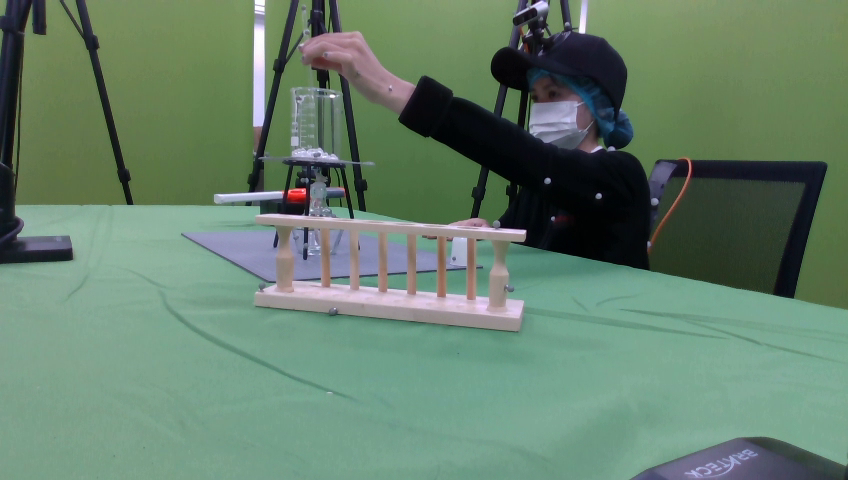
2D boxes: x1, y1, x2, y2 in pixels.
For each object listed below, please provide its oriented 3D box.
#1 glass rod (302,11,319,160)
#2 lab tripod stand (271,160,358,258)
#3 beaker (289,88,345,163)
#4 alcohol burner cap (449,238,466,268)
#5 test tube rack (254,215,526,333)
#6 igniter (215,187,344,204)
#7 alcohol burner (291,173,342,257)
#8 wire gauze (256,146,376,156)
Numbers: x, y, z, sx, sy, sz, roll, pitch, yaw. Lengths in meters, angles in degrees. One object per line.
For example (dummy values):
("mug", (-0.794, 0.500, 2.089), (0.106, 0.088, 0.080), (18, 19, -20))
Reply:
("glass rod", (-0.156, -0.211, 0.833), (0.008, 0.199, 0.008), (-3, 10, 1))
("lab tripod stand", (-0.159, -0.048, 0.876), (0.148, 0.131, 0.148), (3, 5, 0))
("beaker", (-0.157, -0.160, 0.862), (0.083, 0.100, 0.074), (7, 7, 34))
("alcohol burner cap", (0.051, 0.015, 0.827), (0.034, 0.048, 0.034), (2, 4, 0))
("test tube rack", (-0.030, 0.025, 0.558), (0.242, 0.085, 0.067), (4, 7, 12))
("igniter", (-0.290, -0.093, 1.256), (0.278, 0.025, 0.057), (-6, 12, -35))
("alcohol burner", (-0.155, -0.037, 0.870), (0.078, 0.119, 0.078), (1, 6, 0))
("wire gauze", (-0.155, -0.128, 0.871), (0.124, 0.011, 0.122), (2, 7, 36))
